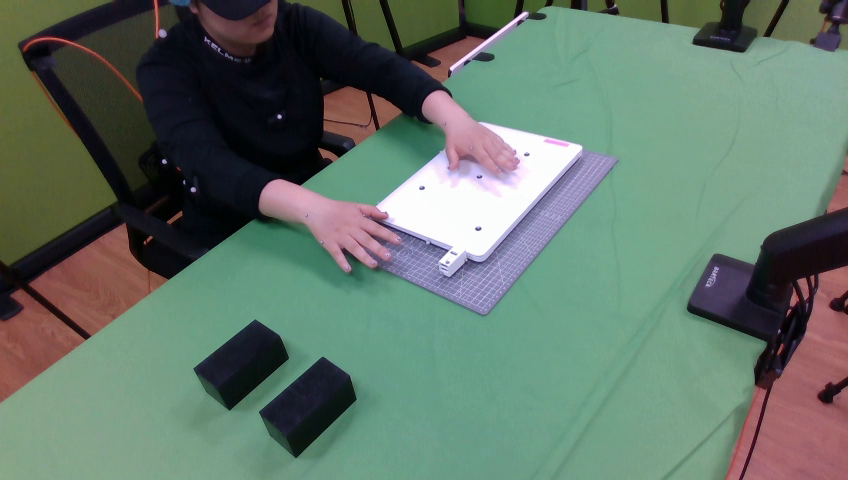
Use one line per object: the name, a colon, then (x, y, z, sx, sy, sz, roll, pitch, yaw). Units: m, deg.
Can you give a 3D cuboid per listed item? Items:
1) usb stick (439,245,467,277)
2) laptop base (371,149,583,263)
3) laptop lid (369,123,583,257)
usb stick: (0.048, 0.028, 0.913, 0.021, 0.027, 0.059, 24, 47, 31)
laptop base: (0.101, -0.097, 1.071, 0.233, 0.023, 0.355, 20, 47, 32)
laptop lid: (0.098, -0.106, 1.065, 0.240, 0.013, 0.358, 22, 48, 33)
